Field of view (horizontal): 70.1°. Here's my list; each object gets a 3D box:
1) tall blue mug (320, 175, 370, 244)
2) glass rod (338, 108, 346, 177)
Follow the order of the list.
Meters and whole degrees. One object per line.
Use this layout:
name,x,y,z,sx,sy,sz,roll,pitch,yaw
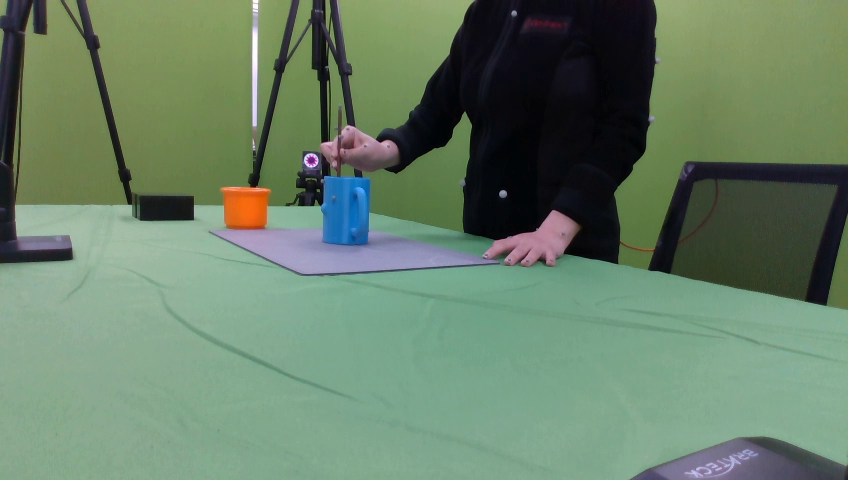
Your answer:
tall blue mug,-0.116,-0.049,0.991,0.106,0.108,0.078,7,8,33
glass rod,-0.135,-0.120,1.005,0.008,0.199,0.008,-4,0,0
